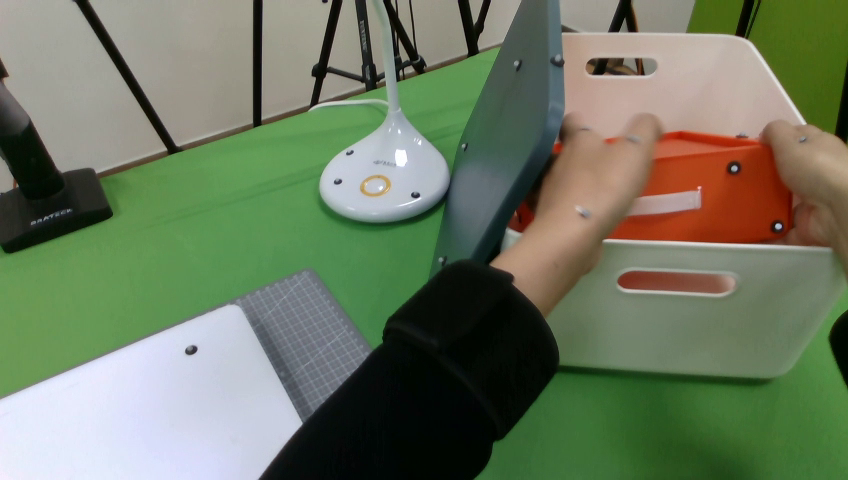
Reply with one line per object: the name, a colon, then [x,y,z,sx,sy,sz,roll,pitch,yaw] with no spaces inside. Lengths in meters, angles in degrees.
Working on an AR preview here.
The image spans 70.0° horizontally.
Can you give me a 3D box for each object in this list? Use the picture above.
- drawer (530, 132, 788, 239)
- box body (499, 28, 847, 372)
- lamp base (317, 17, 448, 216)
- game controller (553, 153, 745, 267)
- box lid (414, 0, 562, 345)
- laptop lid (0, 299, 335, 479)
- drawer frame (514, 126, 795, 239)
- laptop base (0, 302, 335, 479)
drawer: [0.187,-0.056,0.565,0.194,0.073,0.211,-6,13,5]
box body: [0.202,-0.058,0.588,0.254,0.162,0.361,2,41,7]
lamp base: [-0.053,-0.148,0.695,0.160,0.182,0.177,2,39,7]
game controller: [0.189,-0.033,0.528,0.155,0.052,0.096,-9,43,2]
box lid: [0.063,-0.101,0.583,0.015,0.264,0.368,20,42,-7]
laptop lid: [-0.266,0.183,0.433,0.357,0.013,0.239,-23,47,-21]
drawer frame: [0.187,-0.056,0.566,0.201,0.083,0.213,-5,12,3]
laptop base: [-0.266,0.190,0.442,0.355,0.023,0.233,-24,48,-22]
